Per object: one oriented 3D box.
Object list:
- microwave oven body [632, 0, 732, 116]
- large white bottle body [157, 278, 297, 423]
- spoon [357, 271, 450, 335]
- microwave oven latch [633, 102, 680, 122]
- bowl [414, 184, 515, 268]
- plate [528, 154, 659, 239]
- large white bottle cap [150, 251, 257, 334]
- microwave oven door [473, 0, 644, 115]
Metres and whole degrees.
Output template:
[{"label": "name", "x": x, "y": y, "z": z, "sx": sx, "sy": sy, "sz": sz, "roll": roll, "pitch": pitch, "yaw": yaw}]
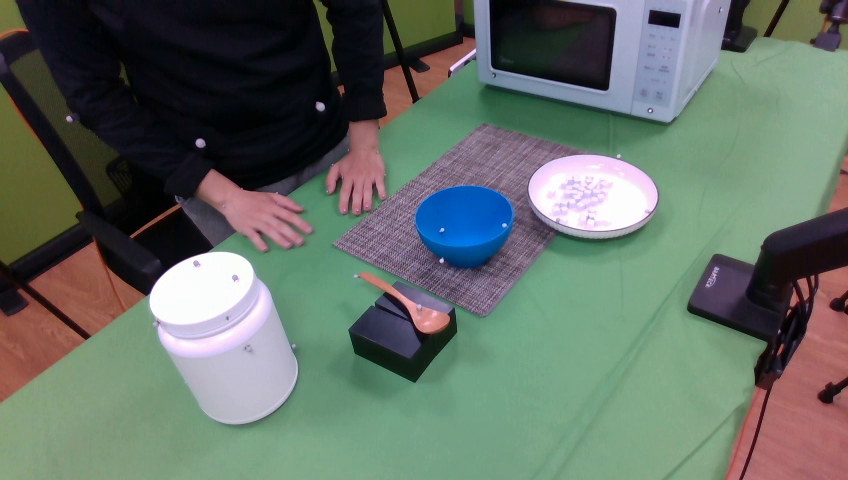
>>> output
[{"label": "microwave oven body", "x": 0.377, "y": -0.462, "z": 1.267, "sx": 0.438, "sy": 0.261, "sz": 0.327, "roll": 21, "pitch": 48, "yaw": 30}, {"label": "large white bottle body", "x": -0.239, "y": 0.120, "z": 0.735, "sx": 0.130, "sy": 0.185, "sz": 0.130, "roll": -4, "pitch": 41, "yaw": 4}, {"label": "spoon", "x": -0.034, "y": 0.078, "z": 0.812, "sx": 0.042, "sy": 0.022, "sz": 0.192, "roll": -36, "pitch": 43, "yaw": -23}, {"label": "microwave oven latch", "x": 0.444, "y": -0.249, "z": 1.157, "sx": 0.078, "sy": 0.029, "sz": 0.030, "roll": 21, "pitch": 49, "yaw": 30}, {"label": "bowl", "x": 0.063, "y": -0.010, "z": 0.922, "sx": 0.151, "sy": 0.077, "sz": 0.150, "roll": -4, "pitch": 40, "yaw": 4}, {"label": "plate", "x": 0.274, "y": -0.069, "z": 0.993, "sx": 0.209, "sy": 0.038, "sz": 0.208, "roll": -2, "pitch": 42, "yaw": 2}, {"label": "large white bottle cap", "x": -0.247, "y": 0.056, "z": 0.680, "sx": 0.115, "sy": 0.018, "sz": 0.114, "roll": -4, "pitch": 41, "yaw": 4}, {"label": "microwave oven door", "x": 0.257, "y": -0.396, "z": 1.199, "sx": 0.353, "sy": 0.245, "sz": 0.039, "roll": 21, "pitch": 48, "yaw": 29}]
